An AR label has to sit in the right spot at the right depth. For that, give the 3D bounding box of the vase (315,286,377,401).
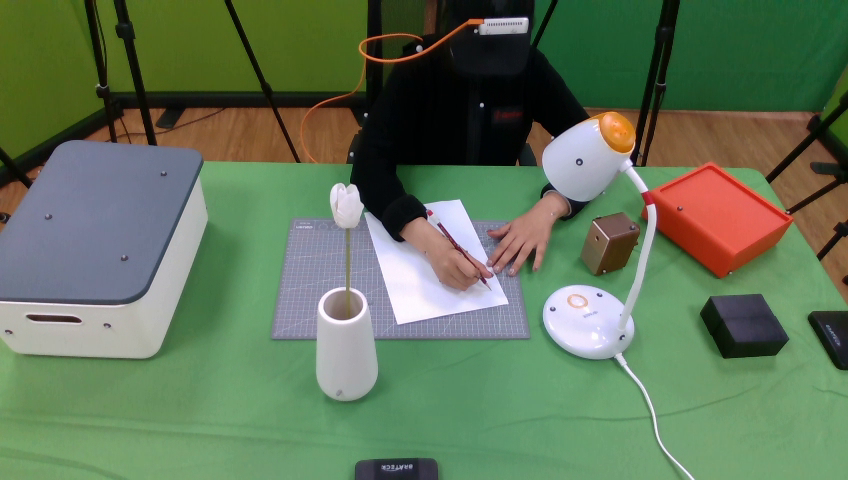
[{"bbox_3d":[-0.119,0.159,0.911,0.098,0.201,0.097,2,47,-2],"label":"vase"}]

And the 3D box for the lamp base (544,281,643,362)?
[{"bbox_3d":[0.303,0.095,1.014,0.161,0.181,0.178,-24,54,-24],"label":"lamp base"}]

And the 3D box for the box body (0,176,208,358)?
[{"bbox_3d":[-0.546,0.017,1.045,0.254,0.161,0.361,2,46,-2],"label":"box body"}]

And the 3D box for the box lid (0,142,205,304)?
[{"bbox_3d":[-0.534,-0.044,0.995,0.263,0.015,0.369,3,45,-3],"label":"box lid"}]

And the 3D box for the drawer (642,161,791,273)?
[{"bbox_3d":[0.596,-0.051,1.246,0.194,0.073,0.210,-23,52,-25],"label":"drawer"}]

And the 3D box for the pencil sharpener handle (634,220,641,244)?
[{"bbox_3d":[0.405,-0.015,1.162,0.031,0.068,0.035,-15,46,-17],"label":"pencil sharpener handle"}]

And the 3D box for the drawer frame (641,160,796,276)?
[{"bbox_3d":[0.599,-0.051,1.244,0.202,0.083,0.212,-24,53,-25],"label":"drawer frame"}]

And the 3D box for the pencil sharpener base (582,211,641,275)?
[{"bbox_3d":[0.357,0.005,1.156,0.077,0.107,0.061,-15,48,-17],"label":"pencil sharpener base"}]

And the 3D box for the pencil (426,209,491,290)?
[{"bbox_3d":[0.065,0.019,1.101,0.194,0.012,0.012,51,51,-14],"label":"pencil"}]

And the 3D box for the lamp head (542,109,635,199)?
[{"bbox_3d":[0.253,-0.131,0.893,0.113,0.123,0.112,10,66,-24],"label":"lamp head"}]

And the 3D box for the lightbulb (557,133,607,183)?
[{"bbox_3d":[0.243,-0.127,0.917,0.059,0.108,0.059,6,67,-13],"label":"lightbulb"}]

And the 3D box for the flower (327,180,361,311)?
[{"bbox_3d":[-0.111,0.086,0.867,0.044,0.363,0.038,22,33,35],"label":"flower"}]
